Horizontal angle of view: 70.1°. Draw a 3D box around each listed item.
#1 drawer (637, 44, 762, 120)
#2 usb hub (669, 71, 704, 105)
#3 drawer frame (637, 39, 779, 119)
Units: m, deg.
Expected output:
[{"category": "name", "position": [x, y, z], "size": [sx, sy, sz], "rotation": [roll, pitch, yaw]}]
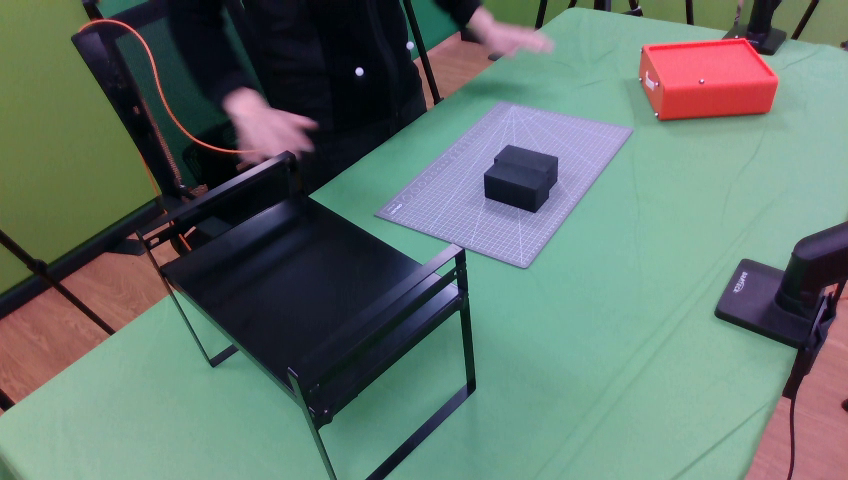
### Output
[{"category": "drawer", "position": [0.561, -0.326, 1.231], "size": [0.212, 0.073, 0.193], "rotation": [-1, 41, 4]}, {"category": "usb hub", "position": [0.533, -0.310, 1.229], "size": [0.049, 0.025, 0.125], "rotation": [-9, 30, 19]}, {"category": "drawer frame", "position": [0.563, -0.329, 1.227], "size": [0.213, 0.083, 0.201], "rotation": [-2, 40, 5]}]
